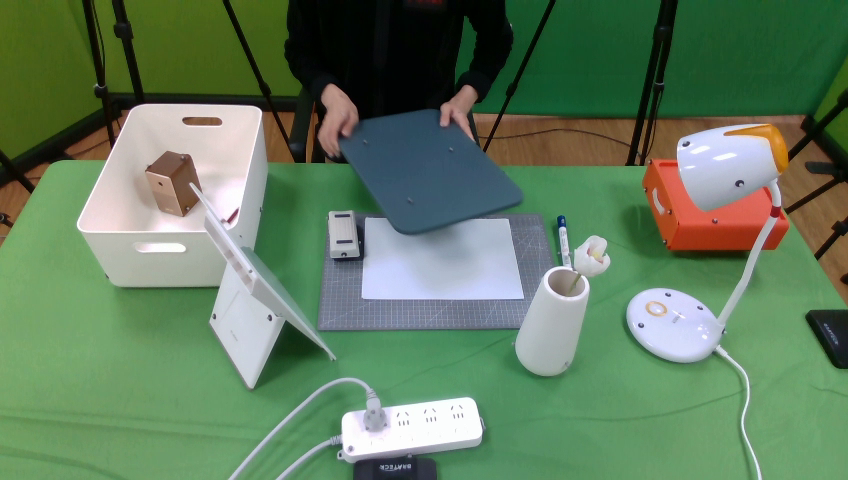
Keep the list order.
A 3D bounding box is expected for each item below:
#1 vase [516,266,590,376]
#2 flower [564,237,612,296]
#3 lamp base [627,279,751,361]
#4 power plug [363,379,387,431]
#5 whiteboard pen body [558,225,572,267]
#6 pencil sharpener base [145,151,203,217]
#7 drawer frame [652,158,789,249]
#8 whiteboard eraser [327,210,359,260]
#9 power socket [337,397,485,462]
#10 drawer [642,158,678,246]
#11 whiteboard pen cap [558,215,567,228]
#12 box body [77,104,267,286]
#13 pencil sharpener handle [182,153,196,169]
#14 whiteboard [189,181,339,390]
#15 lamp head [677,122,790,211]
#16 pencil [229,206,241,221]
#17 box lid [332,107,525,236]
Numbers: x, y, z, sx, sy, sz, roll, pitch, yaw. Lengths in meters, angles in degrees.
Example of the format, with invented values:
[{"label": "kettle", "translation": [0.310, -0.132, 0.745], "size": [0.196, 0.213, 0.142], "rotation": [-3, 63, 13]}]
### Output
[{"label": "vase", "translation": [0.208, 0.132, 0.964], "size": [0.098, 0.201, 0.097], "rotation": [3, 46, -3]}, {"label": "flower", "translation": [0.206, 0.088, 0.892], "size": [0.038, 0.363, 0.044], "rotation": [-17, 67, -9]}, {"label": "lamp base", "translation": [0.460, 0.100, 1.027], "size": [0.178, 0.181, 0.160], "rotation": [27, 51, 17]}, {"label": "power plug", "translation": [-0.072, 0.252, 0.910], "size": [0.035, 0.053, 0.072], "rotation": [3, 45, -1]}, {"label": "whiteboard pen body", "translation": [0.280, 0.010, 1.207], "size": [0.017, 0.017, 0.140], "rotation": [3, 50, -1]}, {"label": "pencil sharpener base", "translation": [-0.490, -0.112, 1.199], "size": [0.061, 0.107, 0.076], "rotation": [15, 47, 12]}, {"label": "drawer frame", "translation": [0.571, -0.075, 1.214], "size": [0.214, 0.083, 0.200], "rotation": [0, 45, -1]}, {"label": "whiteboard eraser", "translation": [-0.158, -0.009, 1.177], "size": [0.055, 0.042, 0.112], "rotation": [-6, 47, -7]}, {"label": "power socket", "translation": [-0.018, 0.285, 0.915], "size": [0.227, 0.033, 0.071], "rotation": [-5, 46, -8]}, {"label": "drawer", "translation": [0.566, -0.076, 1.211], "size": [0.212, 0.073, 0.193], "rotation": [2, 45, -2]}, {"label": "whiteboard pen cap", "translation": [0.285, -0.034, 1.246], "size": [0.018, 0.018, 0.033], "rotation": [3, 52, -1]}, {"label": "box body", "translation": [-0.446, -0.088, 1.150], "size": [0.254, 0.161, 0.361], "rotation": [-1, 46, -5]}, {"label": "pencil sharpener handle", "translation": [-0.476, -0.155, 1.225], "size": [0.036, 0.068, 0.030], "rotation": [23, 48, 3]}, {"label": "whiteboard", "translation": [-0.292, 0.096, 0.929], "size": [0.144, 0.307, 0.216], "rotation": [-37, 57, -10]}, {"label": "lamp head", "translation": [0.423, -0.104, 0.819], "size": [0.122, 0.113, 0.112], "rotation": [-13, 33, 39]}, {"label": "pencil", "translation": [-0.402, -0.008, 1.176], "size": [0.012, 0.012, 0.193], "rotation": [15, 44, 9]}, {"label": "box lid", "translation": [-0.001, -0.147, 1.178], "size": [0.263, 0.015, 0.369], "rotation": [-17, 46, -21]}]
